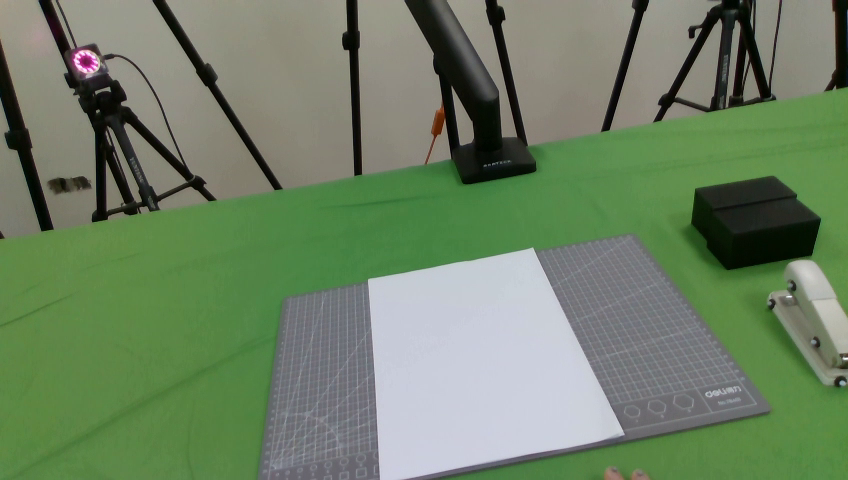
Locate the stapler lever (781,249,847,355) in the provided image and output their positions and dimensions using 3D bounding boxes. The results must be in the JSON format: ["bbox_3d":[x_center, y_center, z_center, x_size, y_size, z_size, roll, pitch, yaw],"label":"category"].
[{"bbox_3d":[0.372,0.054,0.567,0.027,0.040,0.117,-8,36,7],"label":"stapler lever"}]

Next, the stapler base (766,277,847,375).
[{"bbox_3d":[0.375,0.073,0.583,0.041,0.024,0.129,-8,36,7],"label":"stapler base"}]
